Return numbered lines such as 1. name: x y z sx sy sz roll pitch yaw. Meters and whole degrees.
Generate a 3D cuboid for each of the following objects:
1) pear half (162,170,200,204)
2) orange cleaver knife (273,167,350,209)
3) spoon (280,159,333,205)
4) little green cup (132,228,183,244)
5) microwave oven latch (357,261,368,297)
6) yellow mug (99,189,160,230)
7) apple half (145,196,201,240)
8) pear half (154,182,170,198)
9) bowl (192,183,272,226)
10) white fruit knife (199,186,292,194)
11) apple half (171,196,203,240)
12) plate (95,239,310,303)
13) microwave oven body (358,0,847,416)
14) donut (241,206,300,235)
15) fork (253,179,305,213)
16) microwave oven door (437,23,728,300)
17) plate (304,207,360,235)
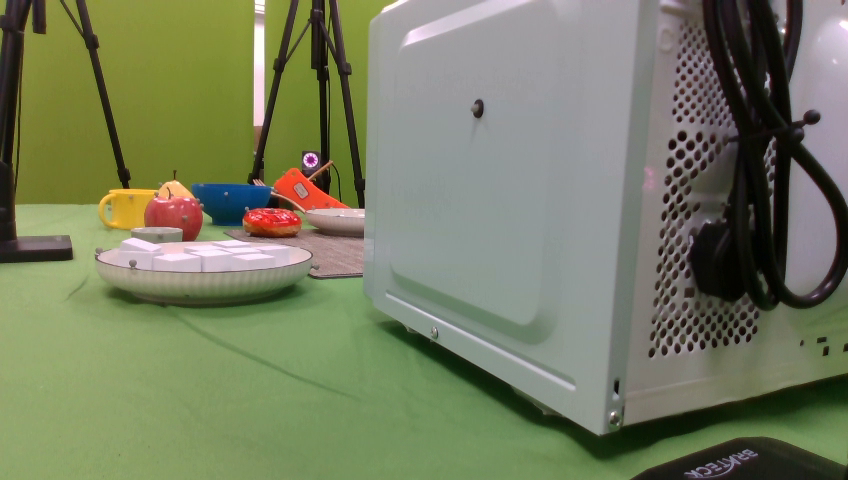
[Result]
1. pear half: -0.399 -0.061 1.002 0.056 0.110 0.076 2 11 1
2. orange cleaver knife: -0.237 -0.087 1.358 0.211 0.077 0.012 32 4 -3
3. spoon: -0.316 -0.159 1.639 0.194 0.022 0.041 -49 32 -20
4. little green cup: -0.342 0.006 0.779 0.061 0.038 0.061 2 8 0
5. microwave oven latch: -0.019 0.033 0.531 0.079 0.029 0.030 -1 7 -27
6. yellow mug: -0.519 -0.055 1.080 0.099 0.064 0.131 7 10 26
7. apple half: -0.377 -0.027 0.891 0.080 0.074 0.053 8 12 18
8. pear half: -0.435 -0.053 1.006 0.031 0.088 0.070 3 12 0
9. bowl: -0.381 -0.070 1.202 0.151 0.077 0.151 3 7 0
10. white fruit knife: -0.399 -0.111 1.368 0.208 0.016 0.027 -4 -20 -29
11. apple half: -0.365 -0.033 0.928 0.081 0.081 0.033 5 12 18
12. plate: -0.224 0.031 0.629 0.208 0.039 0.207 2 8 0
13. microwave oven body: 0.211 -0.047 0.475 0.444 0.260 0.324 -1 7 -28
14. donut: -0.263 -0.032 1.039 0.099 0.048 0.099 4 9 0
15. fork: -0.294 -0.084 1.293 0.206 0.018 0.028 29 12 26
16. microwave oven door: 0.180 -0.072 0.621 0.358 0.243 0.039 -2 8 -29
17. plate: -0.123 -0.037 1.149 0.209 0.038 0.209 2 7 0
